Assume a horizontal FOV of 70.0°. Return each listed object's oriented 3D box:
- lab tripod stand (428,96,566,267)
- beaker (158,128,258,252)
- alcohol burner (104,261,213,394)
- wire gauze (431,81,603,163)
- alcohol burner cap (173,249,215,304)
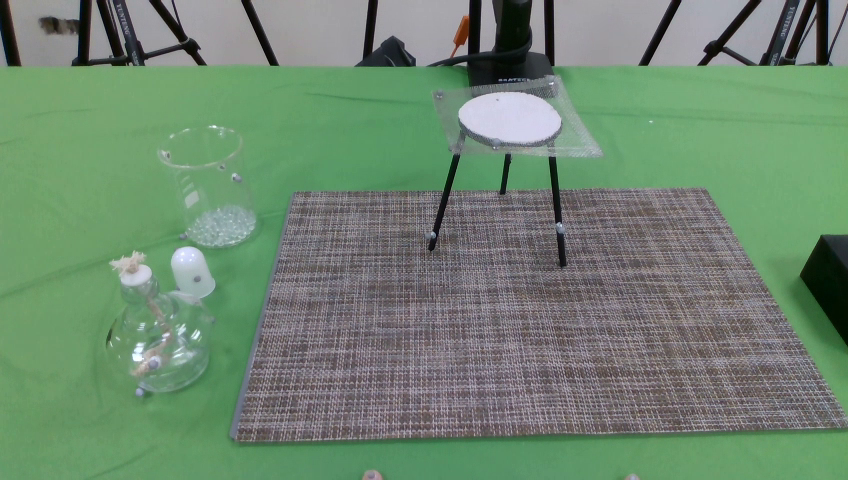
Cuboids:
[{"bbox_3d":[0.077,-0.053,0.561,0.148,0.132,0.147,2,40,-1],"label":"lab tripod stand"},{"bbox_3d":[-0.201,-0.047,0.582,0.074,0.101,0.083,10,41,10],"label":"beaker"},{"bbox_3d":[-0.199,0.059,0.447,0.078,0.120,0.077,2,42,-1],"label":"alcohol burner"},{"bbox_3d":[0.074,-0.101,0.513,0.125,0.011,0.120,-3,42,-6],"label":"wire gauze"},{"bbox_3d":[-0.206,0.030,0.536,0.034,0.048,0.033,1,41,0],"label":"alcohol burner cap"}]
